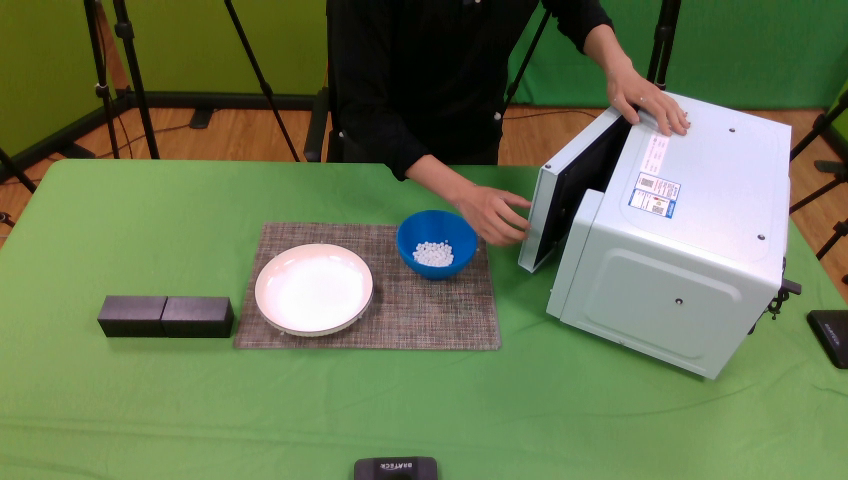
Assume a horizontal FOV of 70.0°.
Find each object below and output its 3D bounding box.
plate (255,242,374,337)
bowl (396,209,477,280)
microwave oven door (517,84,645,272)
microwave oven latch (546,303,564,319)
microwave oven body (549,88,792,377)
[{"bbox_3d":[-0.192,0.090,1.079,0.208,0.039,0.206,2,46,-2],"label":"plate"},{"bbox_3d":[0.021,0.021,1.134,0.151,0.077,0.150,2,46,-2],"label":"bowl"},{"bbox_3d":[0.307,-0.124,1.163,0.039,0.245,0.355,32,52,24],"label":"microwave oven door"},{"bbox_3d":[0.242,0.102,1.081,0.030,0.029,0.079,21,48,17],"label":"microwave oven latch"},{"bbox_3d":[0.456,-0.028,1.088,0.325,0.261,0.440,20,47,16],"label":"microwave oven body"}]
